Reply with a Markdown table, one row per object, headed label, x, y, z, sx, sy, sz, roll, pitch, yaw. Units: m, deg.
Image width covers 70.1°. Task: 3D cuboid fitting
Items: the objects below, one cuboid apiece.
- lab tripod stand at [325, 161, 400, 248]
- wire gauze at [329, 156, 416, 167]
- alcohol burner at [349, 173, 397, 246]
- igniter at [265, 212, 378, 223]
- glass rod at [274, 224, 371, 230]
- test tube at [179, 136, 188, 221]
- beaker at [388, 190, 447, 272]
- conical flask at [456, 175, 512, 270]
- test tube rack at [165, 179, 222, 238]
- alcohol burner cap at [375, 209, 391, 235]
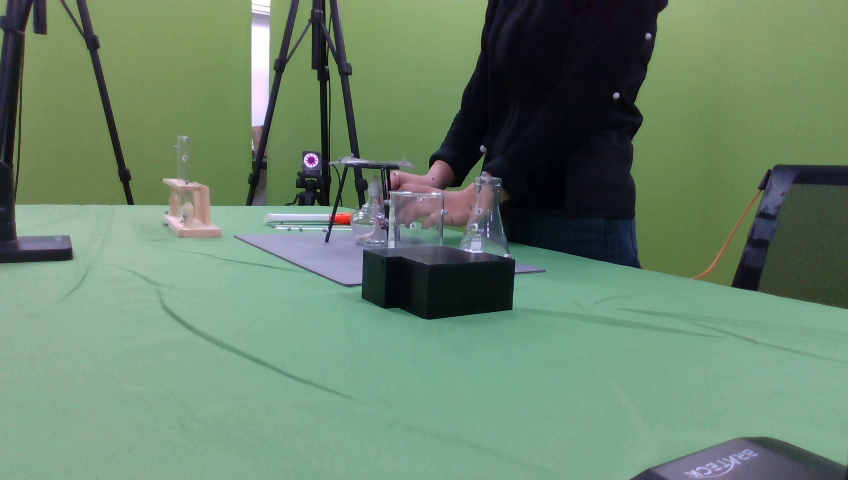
| label | x | y | z | sx | sy | sz | roll | pitch | yaw |
| --- | --- | --- | --- | --- | --- | --- | --- | --- | --- |
| lab tripod stand | -0.083 | -0.060 | 0.976 | 0.148 | 0.131 | 0.148 | 4 | 8 | 0 |
| wire gauze | -0.079 | -0.126 | 0.972 | 0.121 | 0.011 | 0.125 | 4 | 8 | 5 |
| alcohol burner | -0.081 | -0.050 | 0.982 | 0.078 | 0.119 | 0.078 | 4 | 8 | 0 |
| igniter | -0.195 | -0.048 | 1.286 | 0.278 | 0.025 | 0.057 | -2 | -2 | -30 |
| glass rod | -0.193 | -0.024 | 1.177 | 0.201 | 0.008 | 0.008 | 1 | 6 | -31 |
| test tube | -0.425 | -0.108 | 1.070 | 0.017 | 0.150 | 0.017 | 4 | 9 | 0 |
| beaker | -0.010 | -0.013 | 0.771 | 0.074 | 0.100 | 0.084 | 3 | 7 | 4 |
| conical flask | 0.082 | -0.025 | 0.801 | 0.075 | 0.122 | 0.075 | 2 | 7 | 0 |
| test tube rack | -0.423 | -0.062 | 1.098 | 0.067 | 0.085 | 0.241 | -2 | 9 | -28 |
| alcohol burner cap | -0.076 | -0.035 | 1.144 | 0.034 | 0.048 | 0.034 | 2 | 7 | 0 |
